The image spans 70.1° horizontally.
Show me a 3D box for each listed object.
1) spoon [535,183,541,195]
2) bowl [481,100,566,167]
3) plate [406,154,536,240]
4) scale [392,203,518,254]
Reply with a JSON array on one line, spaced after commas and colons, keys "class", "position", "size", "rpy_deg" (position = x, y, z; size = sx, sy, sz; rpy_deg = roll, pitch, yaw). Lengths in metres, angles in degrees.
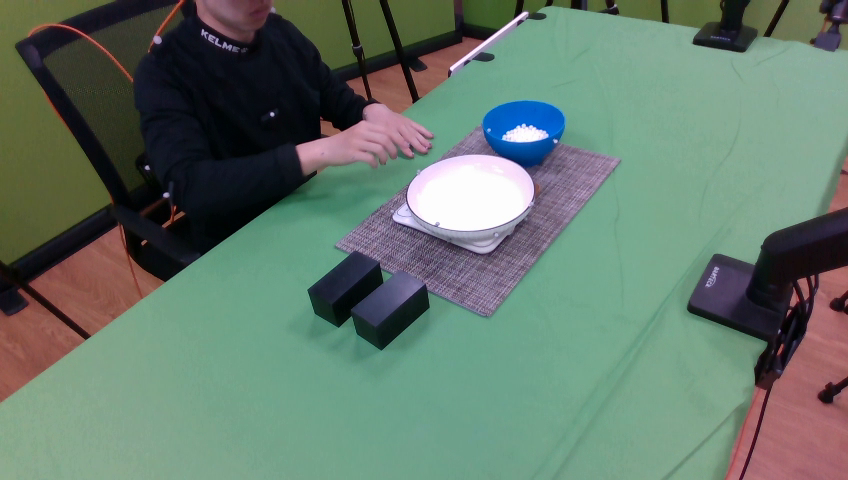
[{"class": "spoon", "position": [0.120, -0.108, 1.071], "size": [0.192, 0.022, 0.041], "rpy_deg": [22, 62, 31]}, {"class": "bowl", "position": [0.183, -0.187, 1.111], "size": [0.151, 0.077, 0.150], "rpy_deg": [-4, 41, 4]}, {"class": "plate", "position": [0.075, -0.067, 0.973], "size": [0.209, 0.038, 0.208], "rpy_deg": [-4, 41, 4]}, {"class": "scale", "position": [0.060, -0.050, 1.006], "size": [0.199, 0.032, 0.149], "rpy_deg": [22, 48, 30]}]
